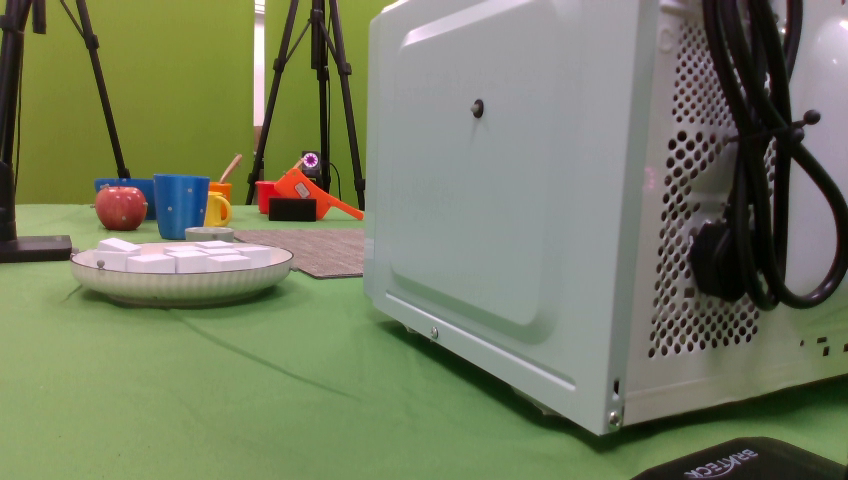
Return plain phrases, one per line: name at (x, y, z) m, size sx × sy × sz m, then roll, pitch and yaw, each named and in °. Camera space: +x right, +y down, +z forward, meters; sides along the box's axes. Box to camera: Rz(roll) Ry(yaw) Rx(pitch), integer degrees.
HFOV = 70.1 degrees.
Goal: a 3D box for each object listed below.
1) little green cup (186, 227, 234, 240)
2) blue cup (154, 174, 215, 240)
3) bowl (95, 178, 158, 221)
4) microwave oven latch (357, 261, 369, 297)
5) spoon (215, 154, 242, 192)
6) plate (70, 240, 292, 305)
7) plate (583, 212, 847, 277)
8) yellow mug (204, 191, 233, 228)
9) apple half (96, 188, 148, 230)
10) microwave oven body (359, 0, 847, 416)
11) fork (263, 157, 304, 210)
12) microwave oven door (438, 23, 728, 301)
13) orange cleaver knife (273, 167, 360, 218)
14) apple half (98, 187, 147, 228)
little green cup at (-0.285, 0.005, 0.805) m, size 0.061 × 0.038 × 0.061 m, roll 2°, pitch 8°, yaw 0°
blue cup at (-0.391, -0.053, 0.978) m, size 0.093 × 0.100 × 0.092 m, roll 4°, pitch 6°, yaw 0°
bowl at (-0.576, -0.081, 1.217) m, size 0.151 × 0.077 × 0.151 m, roll 3°, pitch 8°, yaw 0°
microwave oven latch at (-0.019, 0.033, 0.530) m, size 0.079 × 0.029 × 0.030 m, roll -1°, pitch 7°, yaw -26°
spoon at (-0.439, -0.124, 1.318) m, size 0.041 × 0.193 × 0.022 m, roll 6°, pitch -36°, yaw 15°
plate at (-0.242, 0.031, 0.618) m, size 0.208 × 0.039 × 0.207 m, roll 2°, pitch 8°, yaw 0°
plate at (0.239, 0.001, 0.510) m, size 0.209 × 0.038 × 0.209 m, roll 2°, pitch 6°, yaw 0°
yellow mug at (-0.415, -0.057, 1.131) m, size 0.130 × 0.064 × 0.100 m, roll 6°, pitch 8°, yaw 16°
apple half at (-0.517, -0.052, 1.036) m, size 0.081 × 0.074 × 0.053 m, roll 2°, pitch 10°, yaw -26°
microwave oven body at (0.211, -0.047, 0.474) m, size 0.444 × 0.260 × 0.324 m, roll -1°, pitch 7°, yaw -28°
fork at (-0.345, -0.143, 1.505) m, size 0.028 × 0.019 × 0.207 m, roll -3°, pitch 46°, yaw 27°
microwave oven door at (0.181, -0.072, 0.621) m, size 0.358 × 0.243 × 0.039 m, roll -2°, pitch 8°, yaw -29°
orange cleaver knife at (-0.238, -0.091, 1.381) m, size 0.212 × 0.077 × 0.012 m, roll 31°, pitch 0°, yaw -19°
apple half at (-0.534, -0.059, 1.071) m, size 0.082 × 0.081 × 0.032 m, roll -1°, pitch 11°, yaw -25°
